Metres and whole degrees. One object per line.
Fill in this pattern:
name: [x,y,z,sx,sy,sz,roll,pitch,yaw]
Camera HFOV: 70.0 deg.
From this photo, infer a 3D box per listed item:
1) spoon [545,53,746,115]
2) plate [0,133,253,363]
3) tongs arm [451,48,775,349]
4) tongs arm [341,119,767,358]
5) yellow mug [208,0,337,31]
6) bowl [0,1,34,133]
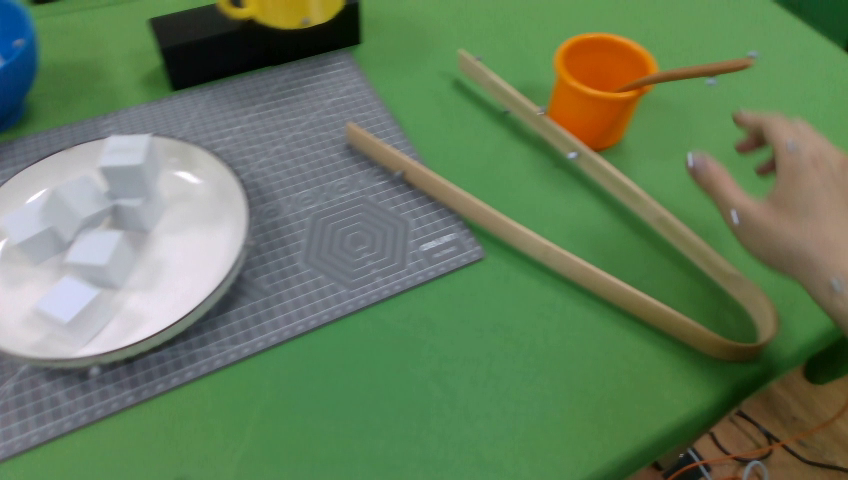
spoon: [0.180,-0.135,0.525,0.041,0.192,0.022,-44,110,-25]
plate: [-0.235,0.003,0.465,0.208,0.039,0.205,2,54,-2]
tongs arm: [0.141,-0.055,0.536,0.051,0.027,0.381,-35,64,-26]
tongs arm: [0.085,-0.009,0.500,0.385,0.028,0.028,31,54,17]
yellow mug: [-0.149,-0.252,0.581,0.131,0.064,0.099,-37,63,-25]
bowl: [-0.417,-0.141,0.538,0.151,0.077,0.150,1,54,-1]
